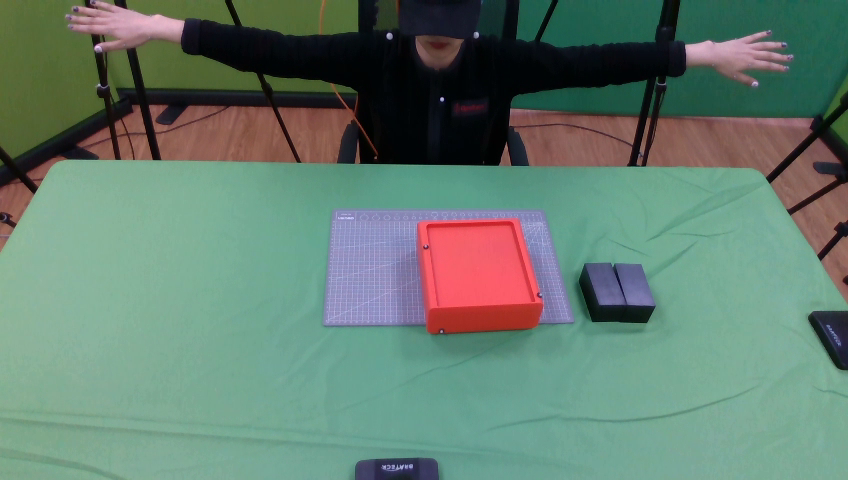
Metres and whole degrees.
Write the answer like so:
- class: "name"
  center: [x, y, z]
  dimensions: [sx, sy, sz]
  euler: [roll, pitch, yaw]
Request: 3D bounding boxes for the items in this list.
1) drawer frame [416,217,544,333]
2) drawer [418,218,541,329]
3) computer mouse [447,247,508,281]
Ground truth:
- class: "drawer frame"
  center: [0.094, 0.058, 1.104]
  dimensions: [0.202, 0.083, 0.212]
  euler: [-2, 47, -7]
- class: "drawer"
  center: [0.094, 0.057, 1.107]
  dimensions: [0.195, 0.073, 0.210]
  euler: [-1, 47, -6]
- class: "computer mouse"
  center: [0.101, 0.046, 1.135]
  dimensions: [0.117, 0.041, 0.062]
  euler: [4, 43, -9]
